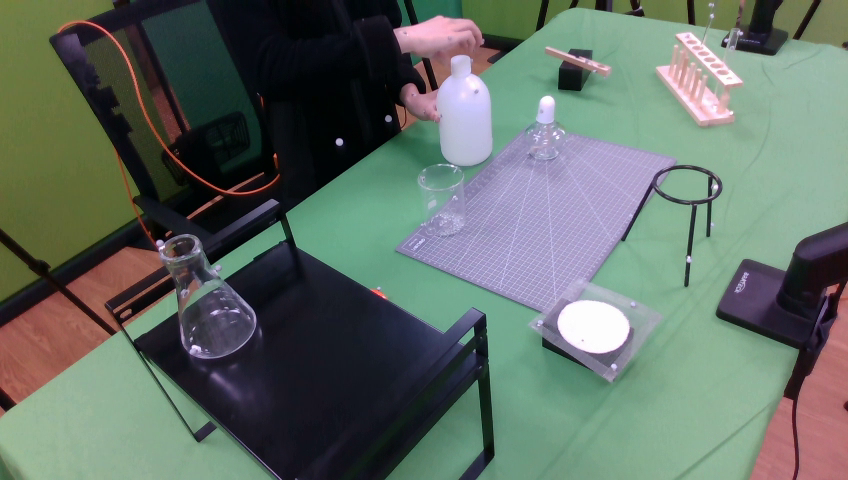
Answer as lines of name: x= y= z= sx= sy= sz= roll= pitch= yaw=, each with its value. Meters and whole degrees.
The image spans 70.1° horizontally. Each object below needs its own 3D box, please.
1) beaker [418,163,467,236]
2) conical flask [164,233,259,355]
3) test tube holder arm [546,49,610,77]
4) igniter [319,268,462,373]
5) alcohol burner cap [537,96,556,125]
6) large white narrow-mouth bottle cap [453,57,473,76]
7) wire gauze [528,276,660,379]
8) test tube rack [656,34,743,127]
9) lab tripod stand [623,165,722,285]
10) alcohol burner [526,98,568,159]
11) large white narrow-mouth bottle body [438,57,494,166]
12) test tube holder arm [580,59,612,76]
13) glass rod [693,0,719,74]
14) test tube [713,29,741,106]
beaker: x=0.035 y=-0.065 z=0.990 sx=0.073 sy=0.101 sz=0.084 roll=24 pitch=49 yaw=32
conical flask: x=-0.216 y=0.051 z=0.601 sx=0.075 sy=0.122 sz=0.075 roll=-4 pitch=40 yaw=4
test tube holder arm: x=0.332 y=-0.387 z=1.315 sx=0.013 sy=0.015 sz=0.177 roll=-26 pitch=43 yaw=-27
igniter: x=-0.059 y=0.107 z=0.862 sx=0.274 sy=0.025 sz=0.057 roll=28 pitch=62 yaw=34
alcohol burner cap: x=0.223 y=-0.237 z=1.095 sx=0.034 sy=0.048 sz=0.033 roll=-1 pitch=42 yaw=1
large white narrow-mouth bottle cap: x=0.069 y=-0.306 z=1.066 sx=0.038 sy=0.024 sz=0.037 roll=-4 pitch=40 yaw=4
wire gauze: x=0.213 y=0.103 z=0.763 sx=0.124 sy=0.011 sz=0.122 roll=30 pitch=52 yaw=35
test tube rack: x=0.553 y=-0.330 z=1.233 sx=0.067 sy=0.085 sz=0.241 roll=-7 pitch=40 yaw=2
lab tripod stand: x=0.365 y=-0.030 z=0.874 sx=0.148 sy=0.132 sz=0.147 roll=-6 pitch=41 yaw=6
alcohol burner: x=0.228 y=-0.210 z=1.118 sx=0.078 sy=0.119 sz=0.077 roll=-5 pitch=43 yaw=5
large white narrow-mouth bottle body: x=0.077 y=-0.242 z=1.122 sx=0.102 sy=0.195 sz=0.101 roll=-4 pitch=40 yaw=4
test tube holder arm: x=0.363 y=-0.369 z=1.288 sx=0.010 sy=0.015 sz=0.087 roll=-28 pitch=43 yaw=-28
glass rod: x=0.560 y=-0.401 z=1.214 sx=0.008 sy=0.200 sz=0.008 roll=-1 pitch=48 yaw=2
test tube: x=0.572 y=-0.324 z=1.146 sx=0.017 sy=0.151 sz=0.017 roll=-3 pitch=39 yaw=3
